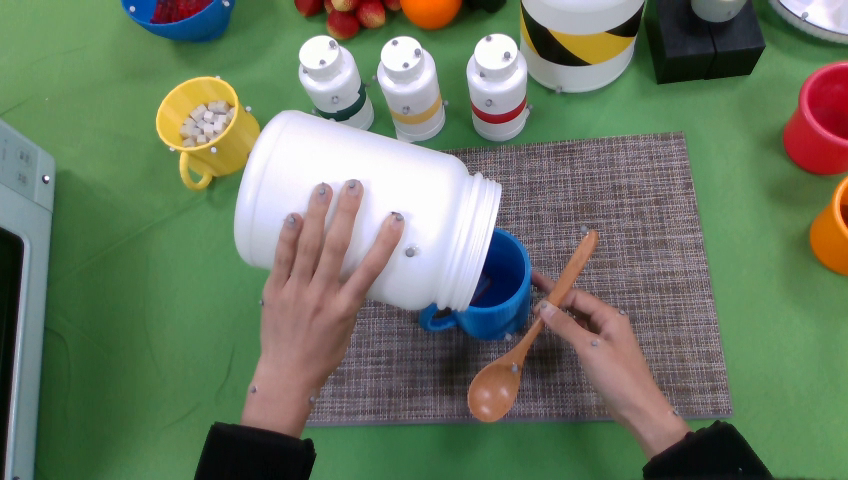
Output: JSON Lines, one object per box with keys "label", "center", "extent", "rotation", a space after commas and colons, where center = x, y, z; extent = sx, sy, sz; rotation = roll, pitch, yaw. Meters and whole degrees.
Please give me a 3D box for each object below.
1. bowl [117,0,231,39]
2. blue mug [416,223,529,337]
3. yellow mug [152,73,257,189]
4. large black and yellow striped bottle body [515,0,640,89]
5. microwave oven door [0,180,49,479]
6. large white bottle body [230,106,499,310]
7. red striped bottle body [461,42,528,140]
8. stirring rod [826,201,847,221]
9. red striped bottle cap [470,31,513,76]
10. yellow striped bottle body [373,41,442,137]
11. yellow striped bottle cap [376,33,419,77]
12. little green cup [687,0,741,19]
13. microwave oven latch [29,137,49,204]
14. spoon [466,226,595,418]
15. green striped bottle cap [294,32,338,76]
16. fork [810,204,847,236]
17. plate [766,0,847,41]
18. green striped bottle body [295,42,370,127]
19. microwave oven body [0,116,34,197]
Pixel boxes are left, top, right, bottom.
{"label": "bowl", "center": [-0.309, -0.318, 0.789], "extent": [0.151, 0.077, 0.150], "rotation": [-3, 69, 7]}
{"label": "blue mug", "center": [0.044, 0.049, 0.578], "extent": [0.116, 0.107, 0.081], "rotation": [-31, 67, -4]}
{"label": "yellow mug", "center": [-0.262, -0.123, 0.715], "extent": [0.100, 0.064, 0.130], "rotation": [6, 71, 11]}
{"label": "large black and yellow striped bottle body", "center": [0.162, -0.264, 0.641], "extent": [0.130, 0.185, 0.130], "rotation": [-3, 69, 8]}
{"label": "microwave oven door", "center": [-0.451, 0.083, 0.550], "extent": [0.039, 0.246, 0.353], "rotation": [-12, 68, 4]}
{"label": "large white bottle body", "center": [-0.043, -0.020, 0.485], "extent": [0.185, 0.131, 0.130], "rotation": [17, 72, -1]}
{"label": "red striped bottle body", "center": [0.076, -0.166, 0.652], "extent": [0.063, 0.121, 0.062], "rotation": [-6, 65, 13]}
{"label": "stirring rod", "center": [0.403, 0.001, 0.531], "extent": [0.014, 0.006, 0.175], "rotation": [-1, 26, 6]}
{"label": "red striped bottle cap", "center": [0.067, -0.186, 0.604], "extent": [0.044, 0.018, 0.044], "rotation": [-1, 67, 4]}
{"label": "yellow striped bottle body", "center": [-0.018, -0.171, 0.667], "extent": [0.063, 0.121, 0.062], "rotation": [-3, 68, 8]}
{"label": "yellow striped bottle cap", "center": [-0.027, -0.189, 0.619], "extent": [0.044, 0.019, 0.044], "rotation": [-1, 64, 2]}
{"label": "little green cup", "center": [0.312, -0.269, 0.645], "extent": [0.061, 0.039, 0.061], "rotation": [-2, 67, 5]}
{"label": "microwave oven latch", "center": [-0.471, -0.081, 0.725], "extent": [0.030, 0.030, 0.078], "rotation": [-10, 69, 4]}
{"label": "spoon", "center": [0.095, 0.072, 0.526], "extent": [0.041, 0.021, 0.194], "rotation": [32, 103, 7]}
{"label": "green striped bottle cap", "center": [-0.113, -0.195, 0.634], "extent": [0.044, 0.020, 0.044], "rotation": [-2, 69, 6]}
{"label": "fork", "center": [0.432, 0.001, 0.519], "extent": [0.028, 0.019, 0.205], "rotation": [-41, 25, -6]}
{"label": "plate", "center": [0.482, -0.309, 0.690], "extent": [0.209, 0.038, 0.207], "rotation": [-3, 69, 7]}
{"label": "green striped bottle body", "center": [-0.104, -0.176, 0.682], "extent": [0.063, 0.120, 0.062], "rotation": [-3, 69, 7]}
{"label": "microwave oven body", "center": [-0.599, 0.076, 0.580], "extent": [0.326, 0.262, 0.438], "rotation": [-12, 69, 3]}
